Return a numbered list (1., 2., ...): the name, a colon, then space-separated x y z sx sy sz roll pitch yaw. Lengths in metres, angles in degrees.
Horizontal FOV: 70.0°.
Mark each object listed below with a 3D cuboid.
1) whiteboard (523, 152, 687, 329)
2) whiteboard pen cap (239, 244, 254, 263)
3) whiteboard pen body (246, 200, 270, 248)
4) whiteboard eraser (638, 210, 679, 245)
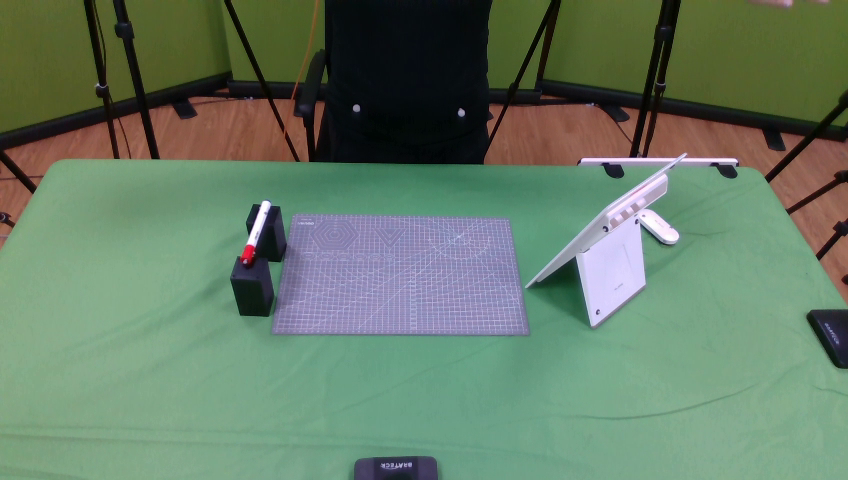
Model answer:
1. whiteboard: 0.346 0.024 1.047 0.217 0.306 0.143 -30 74 -29
2. whiteboard pen cap: -0.298 0.022 1.016 0.017 0.017 0.032 6 45 2
3. whiteboard pen body: -0.293 -0.020 1.059 0.017 0.017 0.139 5 46 0
4. whiteboard eraser: 0.485 -0.027 1.260 0.041 0.019 0.100 -21 50 -21
